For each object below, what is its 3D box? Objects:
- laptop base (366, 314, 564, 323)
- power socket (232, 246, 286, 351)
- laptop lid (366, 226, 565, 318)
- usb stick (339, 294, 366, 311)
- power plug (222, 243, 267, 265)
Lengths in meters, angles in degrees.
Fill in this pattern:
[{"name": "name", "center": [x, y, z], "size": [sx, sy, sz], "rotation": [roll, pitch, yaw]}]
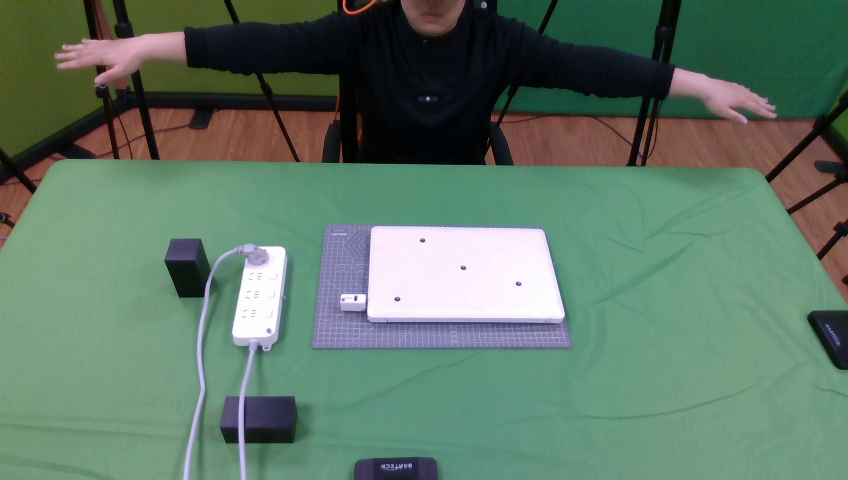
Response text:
[{"name": "laptop base", "center": [0.071, 0.064, 1.144], "size": [0.355, 0.023, 0.234], "rotation": [1, 43, -4]}, {"name": "power socket", "center": [-0.290, 0.095, 1.077], "size": [0.072, 0.033, 0.225], "rotation": [-2, 46, -4]}, {"name": "laptop lid", "center": [0.072, 0.054, 1.137], "size": [0.357, 0.013, 0.240], "rotation": [2, 44, -3]}, {"name": "usb stick", "center": [-0.119, 0.110, 1.068], "size": [0.059, 0.027, 0.021], "rotation": [4, 47, -5]}, {"name": "power plug", "center": [-0.325, 0.027, 1.112], "size": [0.072, 0.053, 0.035], "rotation": [6, 46, 5]}]
